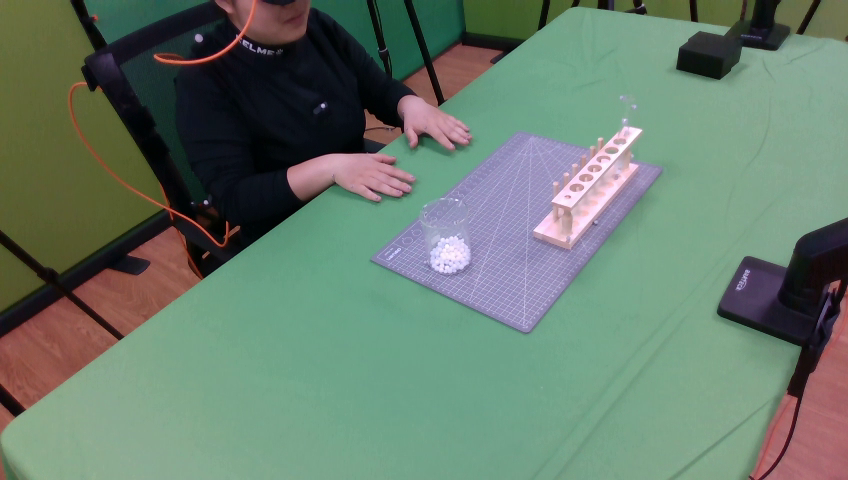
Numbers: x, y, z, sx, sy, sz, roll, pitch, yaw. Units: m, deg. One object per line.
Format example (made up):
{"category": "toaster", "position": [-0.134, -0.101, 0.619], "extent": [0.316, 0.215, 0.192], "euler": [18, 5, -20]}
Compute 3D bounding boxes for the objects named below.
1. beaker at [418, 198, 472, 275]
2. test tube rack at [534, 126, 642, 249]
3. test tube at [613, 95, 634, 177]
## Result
{"category": "beaker", "position": [0.037, -0.004, 0.916], "extent": [0.073, 0.101, 0.084], "euler": [24, 49, 33]}
{"category": "test tube rack", "position": [0.271, -0.095, 0.990], "extent": [0.066, 0.085, 0.243], "euler": [23, 49, 33]}
{"category": "test tube", "position": [0.324, -0.166, 0.987], "extent": [0.017, 0.151, 0.017], "euler": [-4, 42, 4]}
